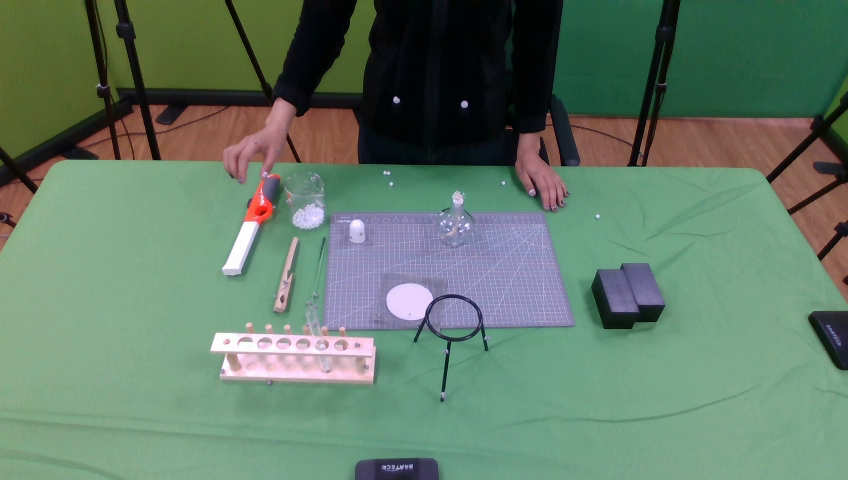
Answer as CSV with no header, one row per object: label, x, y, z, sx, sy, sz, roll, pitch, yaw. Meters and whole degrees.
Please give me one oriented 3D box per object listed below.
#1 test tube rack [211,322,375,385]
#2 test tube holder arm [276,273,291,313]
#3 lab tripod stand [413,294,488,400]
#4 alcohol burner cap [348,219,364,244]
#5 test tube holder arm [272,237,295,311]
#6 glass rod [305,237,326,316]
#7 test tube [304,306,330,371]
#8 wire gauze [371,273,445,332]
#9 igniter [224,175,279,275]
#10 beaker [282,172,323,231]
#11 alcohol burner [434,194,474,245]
test tube rack,-0.203,0.176,0.969,0.242,0.085,0.066,3,46,-2
test tube holder arm,-0.253,0.093,1.094,0.010,0.015,0.087,27,39,-25
lab tripod stand,0.044,0.159,0.972,0.148,0.132,0.147,2,44,-2
alcohol burner cap,-0.134,-0.019,1.190,0.034,0.048,0.033,2,46,-2
test tube holder arm,-0.258,0.059,1.123,0.013,0.015,0.177,27,39,-25
glass rod,-0.202,0.063,1.131,0.008,0.008,0.198,3,44,0
test tube,-0.162,0.153,0.925,0.017,0.151,0.017,-2,44,2
wire gauze,-0.028,0.108,1.100,0.125,0.011,0.121,7,45,4
igniter,-0.340,-0.039,1.206,0.057,0.025,0.275,-1,45,8
beaker,-0.235,-0.073,1.199,0.084,0.101,0.074,24,49,17
alcohol burner,0.061,-0.046,1.183,0.078,0.119,0.077,3,47,-3
